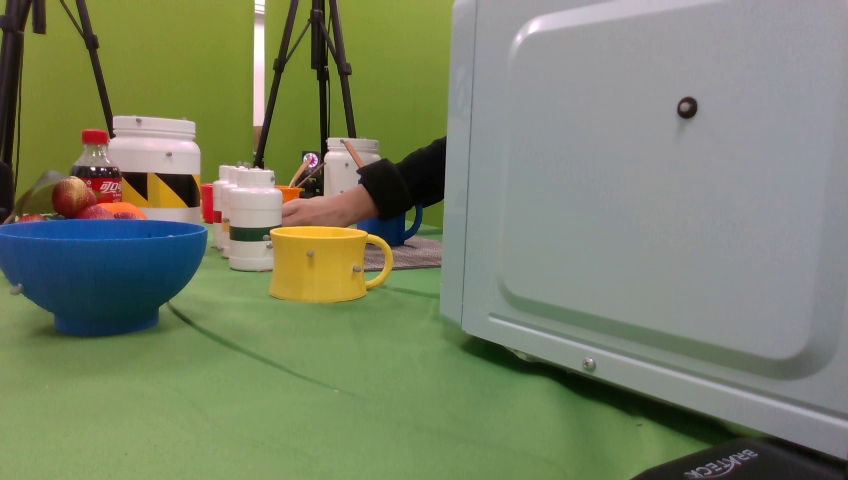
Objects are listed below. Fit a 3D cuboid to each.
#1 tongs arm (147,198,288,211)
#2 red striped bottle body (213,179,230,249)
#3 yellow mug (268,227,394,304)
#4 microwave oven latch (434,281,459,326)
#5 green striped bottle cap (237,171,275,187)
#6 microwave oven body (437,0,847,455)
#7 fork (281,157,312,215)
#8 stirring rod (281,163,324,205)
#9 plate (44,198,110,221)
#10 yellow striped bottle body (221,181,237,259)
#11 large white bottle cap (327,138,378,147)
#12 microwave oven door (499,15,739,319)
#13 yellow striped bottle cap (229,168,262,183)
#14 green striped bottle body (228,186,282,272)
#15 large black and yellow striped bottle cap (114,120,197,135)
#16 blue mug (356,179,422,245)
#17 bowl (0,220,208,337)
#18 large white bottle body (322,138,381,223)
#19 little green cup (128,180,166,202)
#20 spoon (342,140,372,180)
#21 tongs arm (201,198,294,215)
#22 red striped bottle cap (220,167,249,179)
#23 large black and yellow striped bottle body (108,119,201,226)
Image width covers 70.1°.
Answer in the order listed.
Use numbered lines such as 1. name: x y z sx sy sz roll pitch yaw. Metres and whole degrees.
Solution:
1. tongs arm: -0.503 -0.091 1.513 0.028 0.028 0.389 -1 4 38
2. red striped bottle body: -0.284 -0.048 0.909 0.063 0.119 0.063 3 9 0
3. yellow mug: -0.094 0.023 0.629 0.131 0.064 0.099 0 7 -22
4. microwave oven latch: 0.044 0.045 0.470 0.079 0.029 0.030 -3 8 -39
5. green striped bottle cap: -0.205 -0.074 0.738 0.044 0.020 0.044 1 9 0
6. microwave oven body: 0.279 -0.040 0.465 0.444 0.260 0.324 -3 9 -41
7. fork: -0.289 -0.116 1.321 0.028 0.019 0.207 6 51 19
8. stirring rod: -0.278 -0.105 1.293 0.176 0.006 0.014 -47 24 -18
9. plate: -0.617 -0.056 1.179 0.209 0.038 0.209 3 7 0
10. yellow striped bottle body: -0.244 -0.036 0.823 0.063 0.120 0.063 2 8 0
11. large white bottle cap: -0.160 -0.218 1.357 0.115 0.018 0.115 2 8 0
12. microwave oven door: 0.216 -0.065 0.602 0.358 0.243 0.039 -4 11 -41
13. yellow striped bottle cap: -0.240 -0.087 0.816 0.044 0.018 0.044 -3 5 1
14. green striped bottle body: -0.208 -0.023 0.745 0.063 0.119 0.063 2 7 0
15. large black and yellow striped bottle cap: -0.407 -0.171 0.920 0.115 0.019 0.115 2 9 0
16. blue mug: -0.057 -0.046 1.006 0.116 0.106 0.082 5 8 21
17. bowl: -0.251 0.029 0.479 0.151 0.077 0.151 2 7 0
18. large white bottle body: -0.163 -0.135 1.368 0.131 0.184 0.130 2 7 0
19. little green cup: -0.485 -0.087 1.062 0.061 0.038 0.061 0 7 0
20. spoon: -0.093 -0.094 1.024 0.042 0.193 0.021 -8 -23 -49
21. tongs arm: -0.423 -0.084 1.472 0.050 0.026 0.386 2 6 22
22. red striped bottle cap: -0.281 -0.100 0.901 0.044 0.017 0.044 -1 5 0
23. large black and yellow striped bottle body: -0.412 -0.088 0.930 0.131 0.184 0.130 3 7 0
